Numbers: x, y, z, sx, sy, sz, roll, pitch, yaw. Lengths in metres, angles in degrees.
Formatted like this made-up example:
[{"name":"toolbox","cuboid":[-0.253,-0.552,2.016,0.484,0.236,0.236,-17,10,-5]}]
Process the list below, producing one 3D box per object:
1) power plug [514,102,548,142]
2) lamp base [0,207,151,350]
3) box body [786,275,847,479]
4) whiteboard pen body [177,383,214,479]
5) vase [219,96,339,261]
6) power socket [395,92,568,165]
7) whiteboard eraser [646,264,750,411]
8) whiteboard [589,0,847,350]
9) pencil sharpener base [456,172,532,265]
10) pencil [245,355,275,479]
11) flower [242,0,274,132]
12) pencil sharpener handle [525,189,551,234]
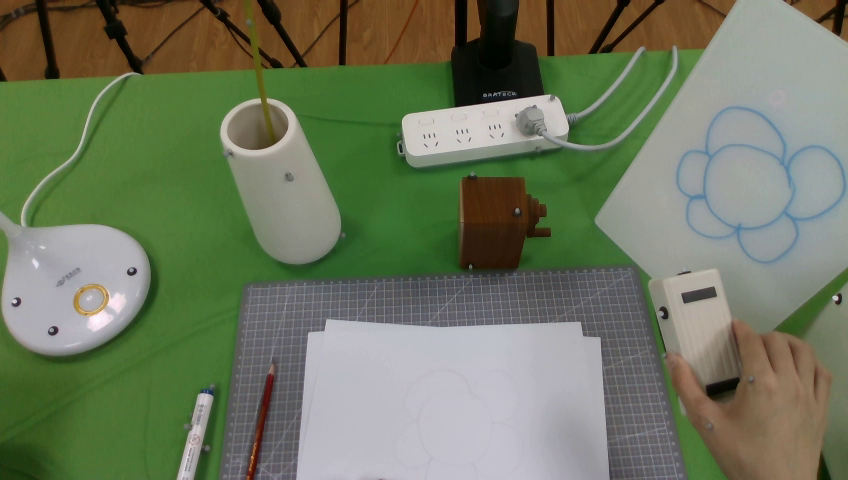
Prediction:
[{"name":"power plug","cuboid":[0.129,-0.138,0.745,0.035,0.053,0.072,1,62,2]},{"name":"lamp base","cuboid":[-0.403,0.005,0.619,0.178,0.182,0.160,26,64,18]},{"name":"box body","cuboid":[0.501,0.199,0.501,0.254,0.161,0.360,-3,61,-1]},{"name":"whiteboard pen body","cuboid":[-0.227,0.209,0.591,0.017,0.017,0.139,1,57,2]},{"name":"vase","cuboid":[-0.151,-0.058,0.638,0.098,0.201,0.097,-1,60,3]},{"name":"power socket","cuboid":[0.075,-0.144,0.776,0.227,0.033,0.071,-8,62,-4]},{"name":"whiteboard eraser","cuboid":[0.220,0.078,0.492,0.056,0.042,0.112,-10,81,-16]},{"name":"whiteboard","cuboid":[0.350,-0.070,0.608,0.144,0.307,0.215,-22,60,-32]},{"name":"pencil sharpener base","cuboid":[0.074,-0.021,0.665,0.077,0.108,0.061,-1,60,1]},{"name":"pencil","cuboid":[-0.166,0.205,0.597,0.012,0.012,0.192,3,59,3]},{"name":"flower","cuboid":[-0.147,-0.115,0.575,0.038,0.365,0.043,-13,43,-14]},{"name":"pencil sharpener handle","cuboid":[0.125,-0.028,0.654,0.030,0.068,0.035,-1,59,1]}]
